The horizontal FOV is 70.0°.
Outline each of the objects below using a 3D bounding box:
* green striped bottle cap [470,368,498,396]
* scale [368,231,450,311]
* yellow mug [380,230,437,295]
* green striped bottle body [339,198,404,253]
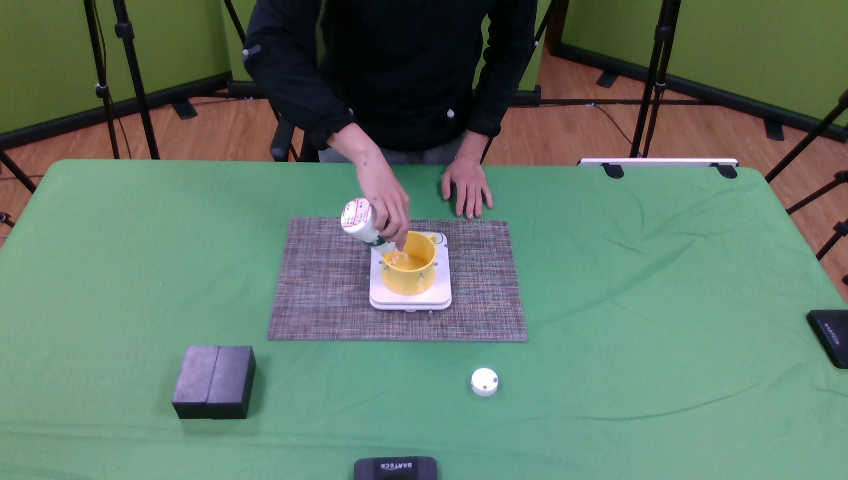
[{"bbox_3d":[0.098,0.231,0.989,0.044,0.020,0.044,2,44,-2],"label":"green striped bottle cap"},{"bbox_3d":[-0.029,0.048,1.137,0.149,0.032,0.199,1,46,-4],"label":"scale"},{"bbox_3d":[-0.020,0.030,1.089,0.099,0.064,0.130,31,51,24],"label":"yellow mug"},{"bbox_3d":[-0.081,-0.019,1.013,0.063,0.120,0.063,-15,61,28],"label":"green striped bottle body"}]
